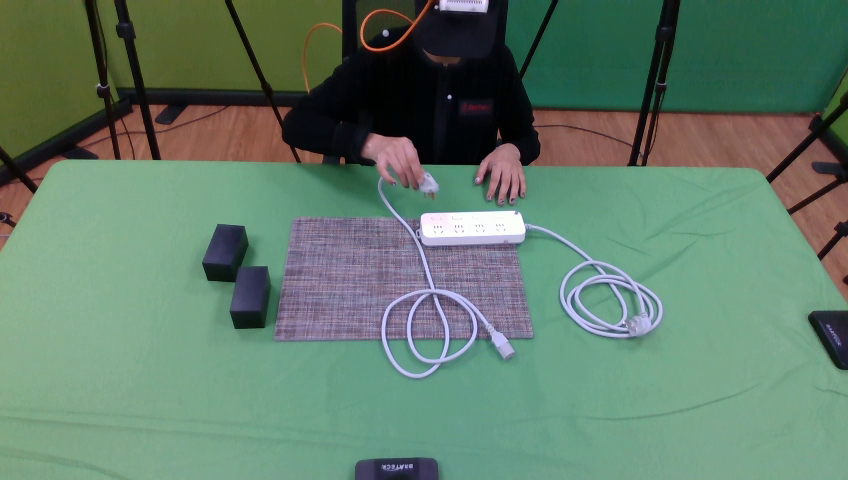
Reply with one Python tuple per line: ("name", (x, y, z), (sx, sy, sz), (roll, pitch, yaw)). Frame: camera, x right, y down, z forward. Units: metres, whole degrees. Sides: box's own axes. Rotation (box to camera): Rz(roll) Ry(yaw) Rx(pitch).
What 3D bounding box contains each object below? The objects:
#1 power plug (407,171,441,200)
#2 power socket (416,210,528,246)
("power plug", (0.003, -0.107, 1.172), (0.035, 0.053, 0.072), (-24, 34, -32))
("power socket", (0.098, -0.024, 1.213), (0.227, 0.033, 0.071), (-2, 47, -6))
